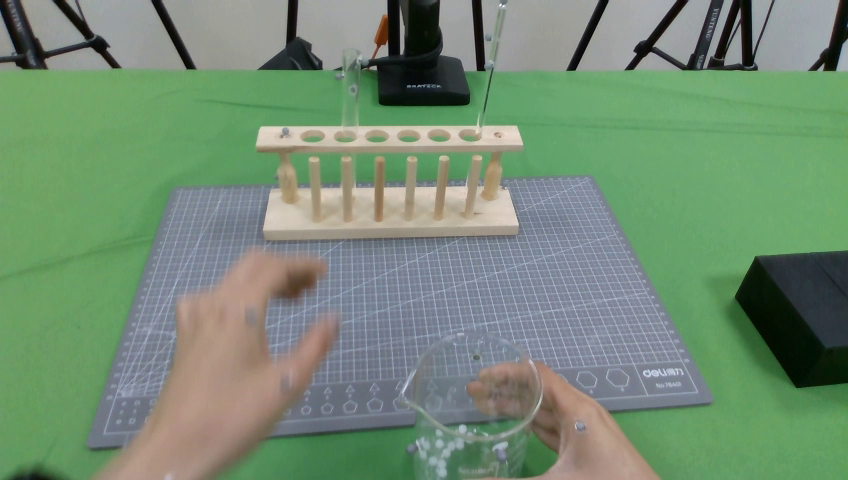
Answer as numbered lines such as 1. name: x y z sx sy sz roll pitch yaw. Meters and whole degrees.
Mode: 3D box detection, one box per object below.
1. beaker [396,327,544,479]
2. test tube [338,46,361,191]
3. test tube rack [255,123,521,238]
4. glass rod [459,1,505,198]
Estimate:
1. beaker: 0.025 0.115 0.373 0.084 0.101 0.073 -7 42 -10
2. test tube: -0.069 -0.104 0.551 0.017 0.151 0.017 5 43 -5
3. test tube rack: -0.032 -0.057 0.577 0.243 0.086 0.066 -1 42 -5
4. glass rod: 0.049 -0.116 0.547 0.008 0.201 0.008 5 43 -5
